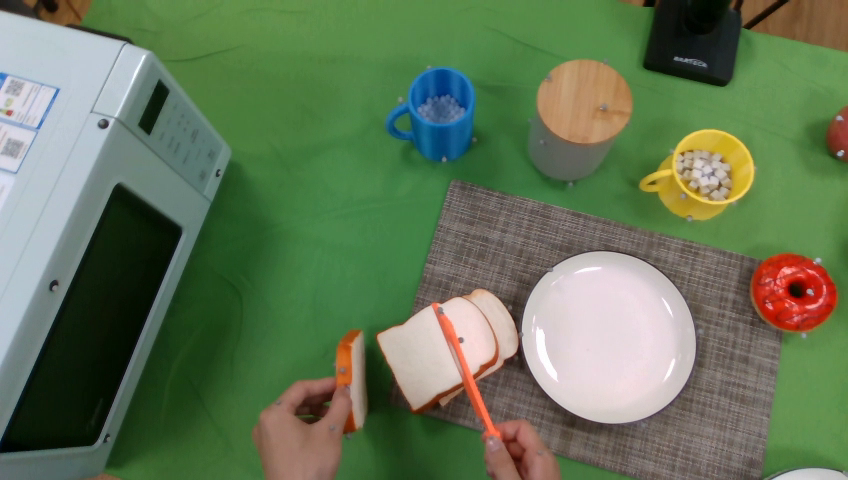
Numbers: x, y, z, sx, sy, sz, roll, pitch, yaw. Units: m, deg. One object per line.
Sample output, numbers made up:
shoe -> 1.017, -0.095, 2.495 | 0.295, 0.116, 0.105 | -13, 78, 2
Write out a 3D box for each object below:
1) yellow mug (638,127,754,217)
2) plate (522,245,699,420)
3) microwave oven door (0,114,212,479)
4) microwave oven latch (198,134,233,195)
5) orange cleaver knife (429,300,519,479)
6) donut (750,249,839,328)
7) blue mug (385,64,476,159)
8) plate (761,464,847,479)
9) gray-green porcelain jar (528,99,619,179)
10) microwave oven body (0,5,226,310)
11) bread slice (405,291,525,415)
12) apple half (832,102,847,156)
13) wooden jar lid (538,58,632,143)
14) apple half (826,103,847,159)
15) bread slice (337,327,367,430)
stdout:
yellow mug -> 0.340, -0.083, 0.772 | 0.131, 0.064, 0.099 | -8, 75, 1
plate -> 0.222, 0.111, 0.736 | 0.207, 0.039, 0.206 | -1, 75, 2
microwave oven door -> -0.349, 0.074, 0.645 | 0.039, 0.245, 0.354 | 16, 76, 6
microwave oven latch -> -0.278, -0.101, 0.794 | 0.030, 0.029, 0.079 | 18, 77, 6
orange cleaver knife -> 0.051, 0.159, 0.611 | 0.012, 0.077, 0.211 | -23, 93, -9
donut -> 0.449, 0.059, 0.738 | 0.099, 0.048, 0.098 | -1, 76, 2
blue mug -> 0.007, -0.161, 0.784 | 0.116, 0.106, 0.082 | -10, 74, 0
plate -> 0.438, 0.355, 0.667 | 0.209, 0.038, 0.208 | -1, 75, 2
gray-green porcelain jar -> 0.188, -0.142, 0.762 | 0.106, 0.127, 0.105 | 0, 75, 2
microwave oven body -> -0.475, -0.003, 0.675 | 0.325, 0.261, 0.440 | 16, 77, 6
bread slice -> 0.059, 0.130, 0.736 | 0.131, 0.019, 0.104 | -40, 83, -9
apple half -> 0.576, -0.145, 0.776 | 0.053, 0.075, 0.080 | -15, 71, -7
wooden jar lid -> 0.185, -0.159, 0.702 | 0.108, 0.021, 0.107 | -1, 73, 2
apple half -> 0.539, -0.133, 0.773 | 0.033, 0.081, 0.081 | -16, 75, -7
bread slice -> -0.080, 0.153, 0.678 | 0.018, 0.134, 0.106 | -6, 84, -1
